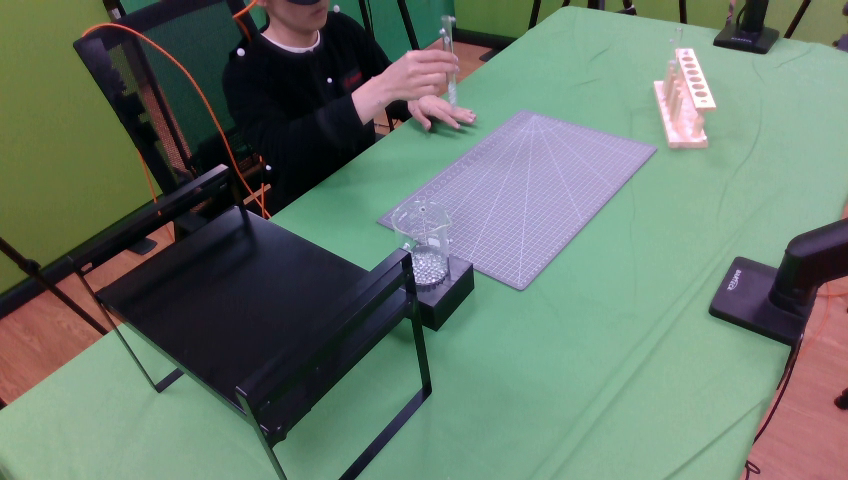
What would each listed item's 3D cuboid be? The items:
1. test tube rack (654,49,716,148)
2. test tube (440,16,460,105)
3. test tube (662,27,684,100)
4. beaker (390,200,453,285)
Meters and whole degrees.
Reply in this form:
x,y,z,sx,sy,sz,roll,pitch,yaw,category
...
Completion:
x,y,z,sx,sy,sz,roll,pitch,yaw,category
0.502,-0.281,1.176,0.066,0.085,0.241,2,42,11,test tube rack
0.044,-0.297,1.010,0.017,0.151,0.017,-7,36,5,test tube
0.486,-0.342,1.181,0.017,0.151,0.017,-3,42,3,test tube
0.002,0.006,0.831,0.084,0.101,0.074,5,42,13,beaker
